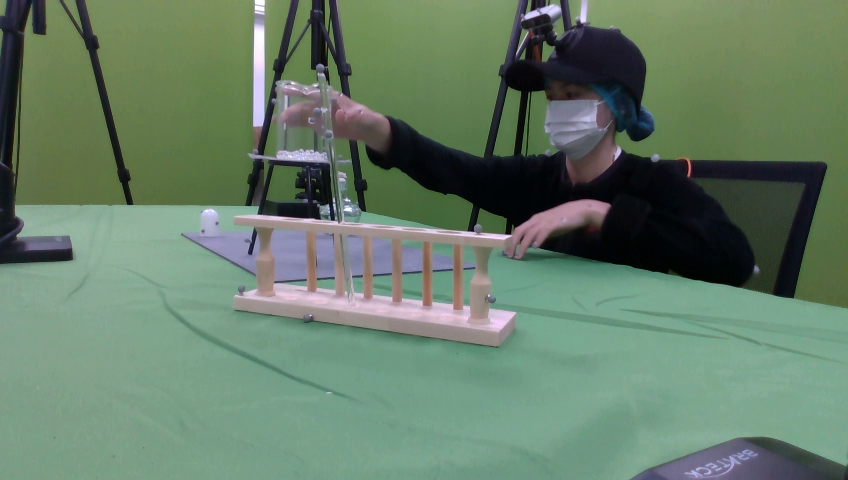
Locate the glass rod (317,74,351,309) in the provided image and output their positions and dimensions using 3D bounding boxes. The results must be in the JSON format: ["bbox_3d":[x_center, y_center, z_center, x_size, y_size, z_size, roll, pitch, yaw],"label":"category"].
[{"bbox_3d":[-0.075,-0.036,0.502,0.008,0.199,0.008,-5,8,1],"label":"glass rod"}]

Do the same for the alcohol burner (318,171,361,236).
[{"bbox_3d":[-0.155,-0.067,1.104,0.078,0.119,0.078,1,8,0],"label":"alcohol burner"}]

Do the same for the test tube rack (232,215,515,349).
[{"bbox_3d":[-0.045,0.028,0.525,0.242,0.085,0.067,5,8,19],"label":"test tube rack"}]

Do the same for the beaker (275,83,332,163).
[{"bbox_3d":[-0.159,-0.152,0.795,0.074,0.100,0.083,1,8,-15],"label":"beaker"}]

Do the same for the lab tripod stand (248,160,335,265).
[{"bbox_3d":[-0.165,-0.041,0.817,0.148,0.131,0.148,5,7,0],"label":"lab tripod stand"}]

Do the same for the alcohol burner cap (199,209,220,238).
[{"bbox_3d":[-0.356,-0.027,1.002,0.034,0.048,0.034,2,7,0],"label":"alcohol burner cap"}]

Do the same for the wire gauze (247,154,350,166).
[{"bbox_3d":[-0.170,-0.105,0.802,0.122,0.011,0.124,-1,11,-20],"label":"wire gauze"}]
